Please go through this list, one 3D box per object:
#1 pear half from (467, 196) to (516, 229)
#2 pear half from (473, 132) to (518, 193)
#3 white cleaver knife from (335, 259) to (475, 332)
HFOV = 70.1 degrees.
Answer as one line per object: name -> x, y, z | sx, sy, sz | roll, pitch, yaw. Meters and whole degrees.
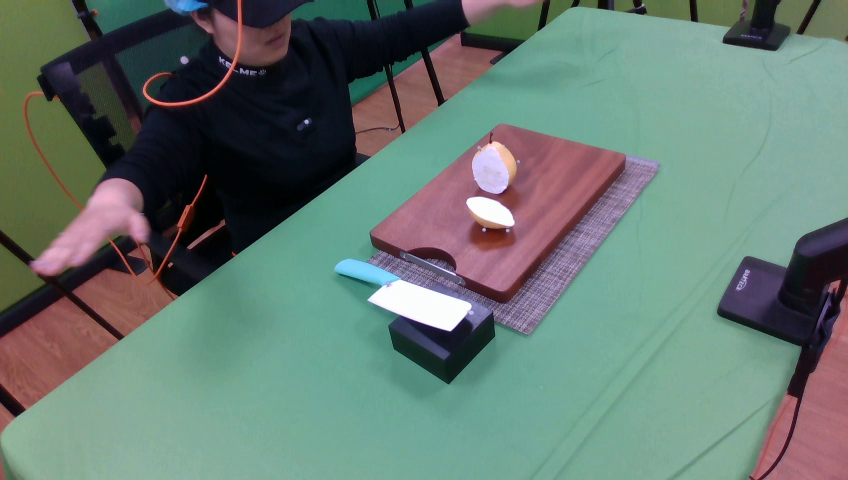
pear half -> 0.106, -0.037, 0.956 | 0.071, 0.031, 0.087 | -23, 53, -37
pear half -> 0.123, -0.139, 1.015 | 0.076, 0.110, 0.056 | 18, 47, 23
white cleaver knife -> -0.045, 0.072, 0.859 | 0.066, 0.021, 0.284 | -37, 33, -31
